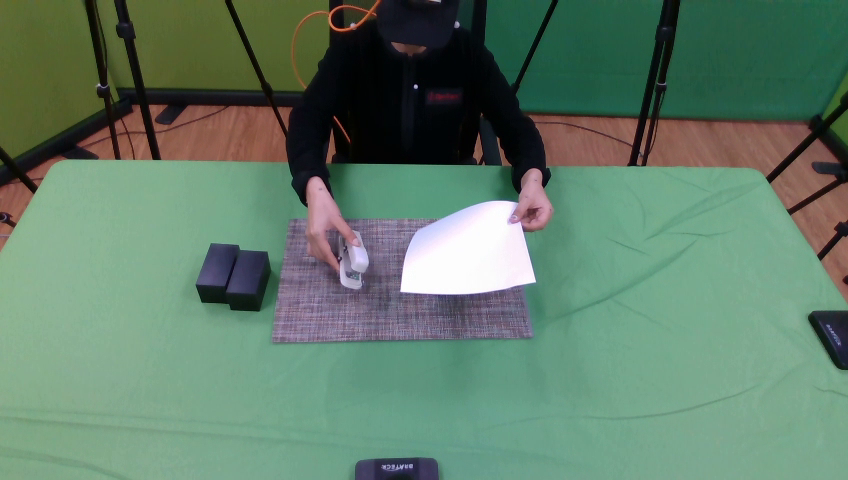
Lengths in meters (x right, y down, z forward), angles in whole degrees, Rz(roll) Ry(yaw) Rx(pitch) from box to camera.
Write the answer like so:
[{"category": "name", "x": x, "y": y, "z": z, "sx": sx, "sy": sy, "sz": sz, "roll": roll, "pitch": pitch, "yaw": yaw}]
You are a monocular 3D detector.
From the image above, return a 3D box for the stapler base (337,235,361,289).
[{"category": "stapler base", "x": -0.135, "y": 0.034, "z": 1.115, "sx": 0.041, "sy": 0.024, "sz": 0.129, "roll": 20, "pitch": 34, "yaw": -28}]

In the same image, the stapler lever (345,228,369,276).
[{"category": "stapler lever", "x": -0.123, "y": 0.015, "z": 1.103, "sx": 0.027, "sy": 0.040, "sz": 0.117, "roll": 20, "pitch": 35, "yaw": -28}]
